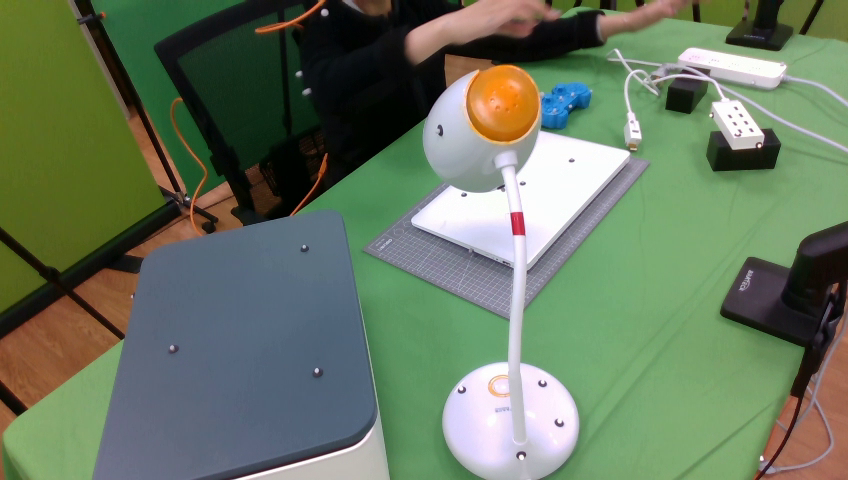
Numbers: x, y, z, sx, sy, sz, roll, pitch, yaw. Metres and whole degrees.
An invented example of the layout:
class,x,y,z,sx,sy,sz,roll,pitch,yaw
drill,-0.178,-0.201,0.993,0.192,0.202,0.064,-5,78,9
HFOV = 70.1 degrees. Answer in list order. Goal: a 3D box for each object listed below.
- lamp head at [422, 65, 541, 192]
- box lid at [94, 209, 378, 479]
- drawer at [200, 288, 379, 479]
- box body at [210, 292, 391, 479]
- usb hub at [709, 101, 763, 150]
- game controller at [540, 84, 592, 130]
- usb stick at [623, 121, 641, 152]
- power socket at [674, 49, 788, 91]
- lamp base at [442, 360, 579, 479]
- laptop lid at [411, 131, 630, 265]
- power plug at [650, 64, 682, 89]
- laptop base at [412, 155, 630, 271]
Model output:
class,x,y,z,sx,sy,sz,roll,pitch,yaw
lamp head,0.060,-0.106,0.560,0.113,0.112,0.122,-16,0,-8
box lid,-0.202,0.094,0.680,0.264,0.015,0.368,-13,39,-5
drawer,-0.172,0.176,0.760,0.195,0.073,0.210,-13,42,-8
box body,-0.190,0.161,0.723,0.255,0.161,0.361,-13,40,-5
usb hub,0.534,-0.199,1.040,0.049,0.025,0.124,-5,39,8
game controller,0.277,-0.282,1.251,0.096,0.052,0.155,27,53,31
usb stick,0.389,-0.191,1.129,0.021,0.027,0.059,7,62,-8
power socket,0.646,-0.363,1.284,0.225,0.033,0.072,26,52,34
lamp base,0.094,0.158,0.657,0.161,0.181,0.178,-13,42,-5
laptop lid,0.172,-0.094,1.050,0.239,0.013,0.358,23,49,36
power plug,0.498,-0.341,1.263,0.035,0.052,0.072,20,10,-7
laptop base,0.176,-0.085,1.056,0.233,0.023,0.355,20,48,36
